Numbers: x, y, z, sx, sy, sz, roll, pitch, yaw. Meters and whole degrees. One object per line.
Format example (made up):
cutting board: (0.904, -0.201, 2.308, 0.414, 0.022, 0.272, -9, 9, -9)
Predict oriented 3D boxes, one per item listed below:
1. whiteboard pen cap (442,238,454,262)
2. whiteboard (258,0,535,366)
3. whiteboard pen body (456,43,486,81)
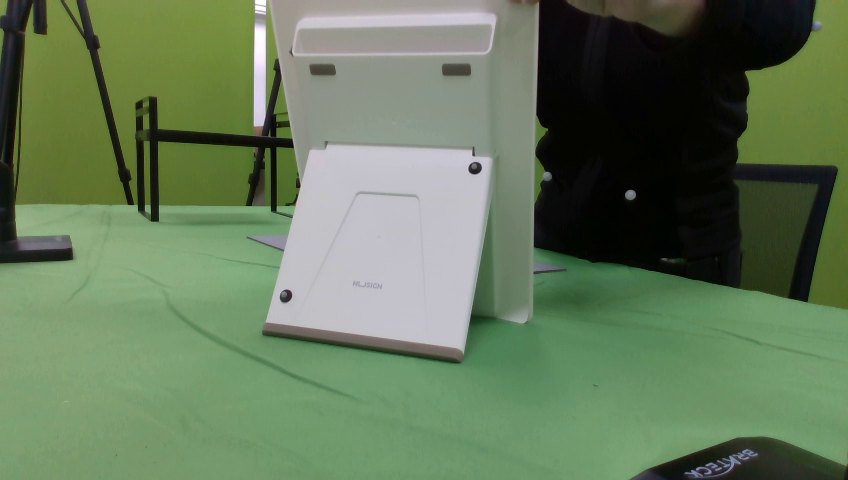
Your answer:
whiteboard pen cap: (0.033, 0.014, 0.851, 0.018, 0.033, 0.018, 3, 5, 0)
whiteboard: (-0.037, -0.041, 0.456, 0.216, 0.305, 0.144, 5, 27, 19)
whiteboard pen body: (0.042, -0.158, 0.540, 0.017, 0.017, 0.141, 4, 26, 10)
